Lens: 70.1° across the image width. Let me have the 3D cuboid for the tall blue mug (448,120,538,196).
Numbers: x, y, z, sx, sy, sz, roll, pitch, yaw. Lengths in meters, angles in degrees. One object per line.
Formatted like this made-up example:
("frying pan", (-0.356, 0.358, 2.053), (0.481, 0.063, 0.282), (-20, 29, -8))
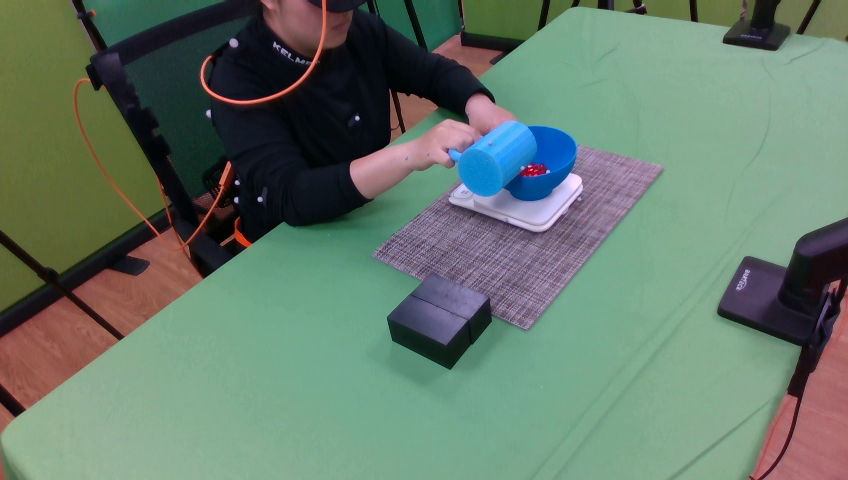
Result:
("tall blue mug", (0.098, -0.131, 0.890), (0.107, 0.077, 0.108), (42, 48, 7))

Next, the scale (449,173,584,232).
("scale", (0.156, -0.085, 1.040), (0.199, 0.032, 0.149), (22, 49, 33))

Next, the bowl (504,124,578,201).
("bowl", (0.176, -0.117, 0.991), (0.151, 0.077, 0.150), (-6, 41, 5))
